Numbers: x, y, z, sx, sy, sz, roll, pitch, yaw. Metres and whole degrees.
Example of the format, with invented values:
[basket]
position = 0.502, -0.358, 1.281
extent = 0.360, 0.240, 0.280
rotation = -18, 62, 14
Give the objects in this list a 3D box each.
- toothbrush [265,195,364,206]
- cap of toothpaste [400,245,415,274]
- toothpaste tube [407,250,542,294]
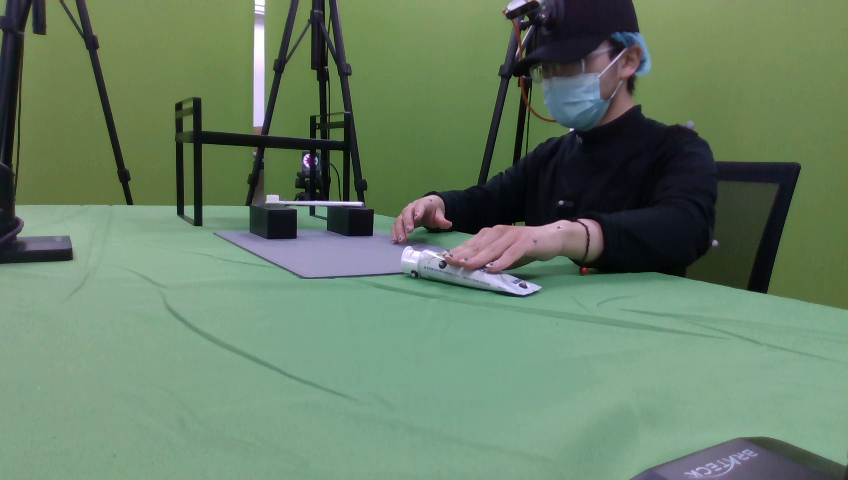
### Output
[toothbrush]
position = -0.194, -0.069, 1.090
extent = 0.183, 0.016, 0.014
rotation = 0, -8, -27
[cap of toothpaste]
position = -0.018, 0.024, 0.742
extent = 0.011, 0.037, 0.037
rotation = 5, 8, 24
[toothpaste tube]
position = 0.049, 0.039, 0.699
extent = 0.164, 0.034, 0.055
rotation = 11, 17, 30
